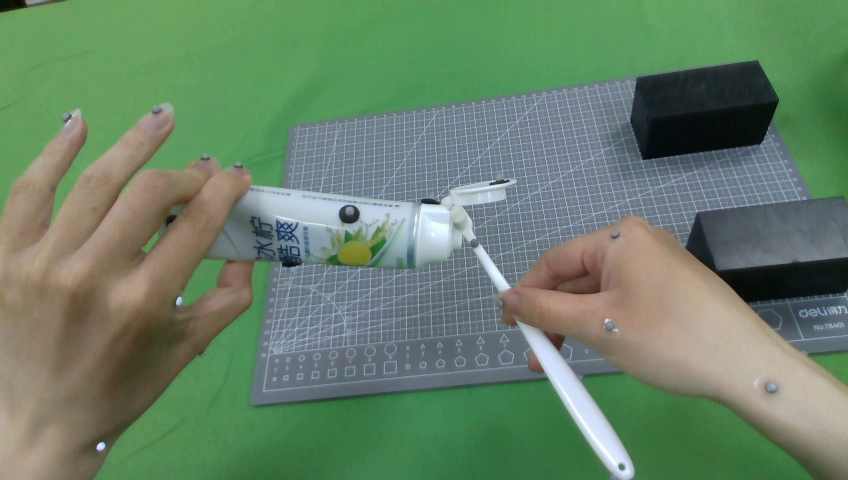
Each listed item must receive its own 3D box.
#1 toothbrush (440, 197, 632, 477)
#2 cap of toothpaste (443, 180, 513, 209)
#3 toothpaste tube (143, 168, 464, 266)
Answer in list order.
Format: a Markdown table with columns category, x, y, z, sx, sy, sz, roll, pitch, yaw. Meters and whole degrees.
| category | x | y | z | sx | sy | sz | roll | pitch | yaw |
| --- | --- | --- | --- | --- | --- | --- | --- | --- | --- |
| toothbrush | 0.056 | 0.044 | 0.330 | 0.014 | 0.017 | 0.180 | -30 | 66 | -3 |
| cap of toothpaste | 0.028 | -0.023 | 0.309 | 0.037 | 0.037 | 0.011 | -11 | 96 | 4 |
| toothpaste tube | -0.061 | -0.009 | 0.317 | 0.165 | 0.055 | 0.034 | 3 | 31 | 3 |
